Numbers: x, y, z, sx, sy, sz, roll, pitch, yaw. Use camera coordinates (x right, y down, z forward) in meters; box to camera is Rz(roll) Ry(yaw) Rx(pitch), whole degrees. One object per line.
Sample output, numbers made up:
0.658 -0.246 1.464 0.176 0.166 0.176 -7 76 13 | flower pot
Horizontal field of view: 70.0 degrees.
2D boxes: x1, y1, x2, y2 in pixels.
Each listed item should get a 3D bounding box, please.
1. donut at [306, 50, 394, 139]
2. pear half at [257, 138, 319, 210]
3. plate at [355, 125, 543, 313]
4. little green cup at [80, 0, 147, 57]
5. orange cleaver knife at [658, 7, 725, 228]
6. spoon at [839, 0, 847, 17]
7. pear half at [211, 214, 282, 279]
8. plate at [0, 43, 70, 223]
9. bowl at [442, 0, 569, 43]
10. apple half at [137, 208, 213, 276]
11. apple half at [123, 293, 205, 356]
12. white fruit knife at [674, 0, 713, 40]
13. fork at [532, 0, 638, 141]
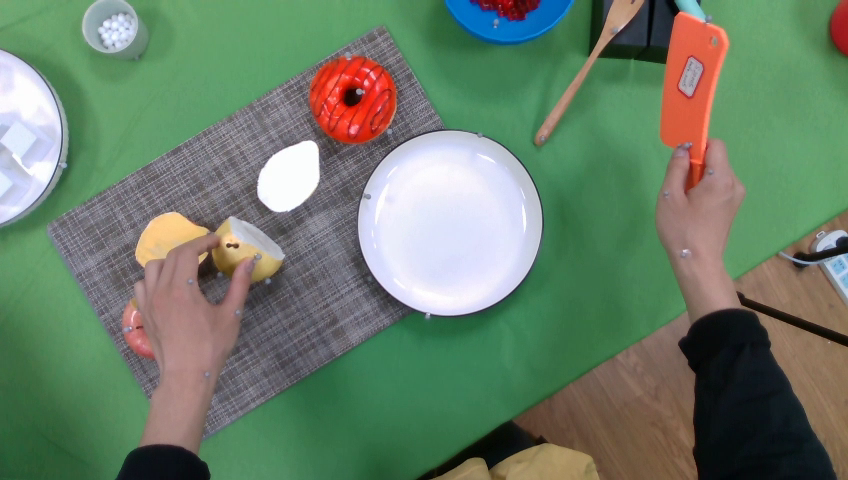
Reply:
-0.082 -0.162 0.676 0.099 0.048 0.099 0 91 2 | donut
-0.146 -0.072 0.681 0.070 0.031 0.088 33 83 11 | pear half
0.028 -0.023 0.680 0.209 0.038 0.209 0 90 -1 | plate
-0.345 -0.237 0.680 0.061 0.038 0.061 0 89 0 | little green cup
0.257 -0.117 0.599 0.012 0.076 0.213 -12 116 -15 | orange cleaver knife
0.530 -0.225 0.638 0.041 0.022 0.191 -37 46 -1 | spoon
-0.197 0.012 0.641 0.076 0.110 0.056 35 90 4 | pear half
-0.497 -0.117 0.678 0.208 0.039 0.207 0 89 -1 | plate
0.085 -0.283 0.667 0.151 0.077 0.151 0 90 -1 | bowl
-0.276 0.008 0.675 0.081 0.033 0.080 4 65 -7 | apple half
-0.285 0.097 0.657 0.081 0.074 0.053 24 93 -4 | apple half
0.255 -0.304 0.651 0.027 0.016 0.207 -29 88 -30 | white fruit knife
0.177 -0.198 0.662 0.028 0.018 0.208 29 109 -7 | fork
